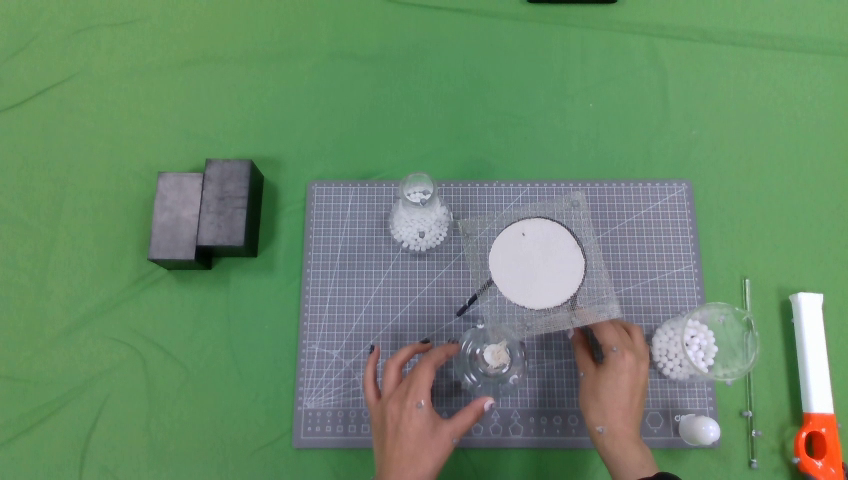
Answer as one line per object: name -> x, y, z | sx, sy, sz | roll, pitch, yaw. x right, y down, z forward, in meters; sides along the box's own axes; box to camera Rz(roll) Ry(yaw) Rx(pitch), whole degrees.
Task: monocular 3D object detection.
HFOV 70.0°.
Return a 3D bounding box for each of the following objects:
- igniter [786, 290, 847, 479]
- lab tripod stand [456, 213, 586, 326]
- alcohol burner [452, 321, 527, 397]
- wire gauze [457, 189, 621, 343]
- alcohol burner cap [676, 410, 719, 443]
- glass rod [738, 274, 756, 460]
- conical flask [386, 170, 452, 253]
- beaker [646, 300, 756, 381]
igniter -> 0.410, 0.189, 0.633 | 0.057, 0.025, 0.275 | 5, 76, -8
lab tripod stand -> 0.102, 0.038, 0.616 | 0.148, 0.132, 0.147 | 0, 77, 1
alcohol burner -> 0.066, 0.117, 0.606 | 0.078, 0.120, 0.077 | -1, 73, 2
wire gauze -> 0.103, 0.022, 0.550 | 0.125, 0.011, 0.121 | -13, 76, -2
alcohol burner cap -> 0.284, 0.192, 0.622 | 0.034, 0.048, 0.033 | 0, 75, 0
glass rod -> 0.351, 0.134, 0.658 | 0.008, 0.008, 0.198 | 4, 75, 1
conical flask -> -0.007, -0.036, 0.641 | 0.075, 0.122, 0.075 | 0, 75, 1
beaker -> 0.278, 0.103, 0.616 | 0.084, 0.101, 0.073 | -36, 78, -9
